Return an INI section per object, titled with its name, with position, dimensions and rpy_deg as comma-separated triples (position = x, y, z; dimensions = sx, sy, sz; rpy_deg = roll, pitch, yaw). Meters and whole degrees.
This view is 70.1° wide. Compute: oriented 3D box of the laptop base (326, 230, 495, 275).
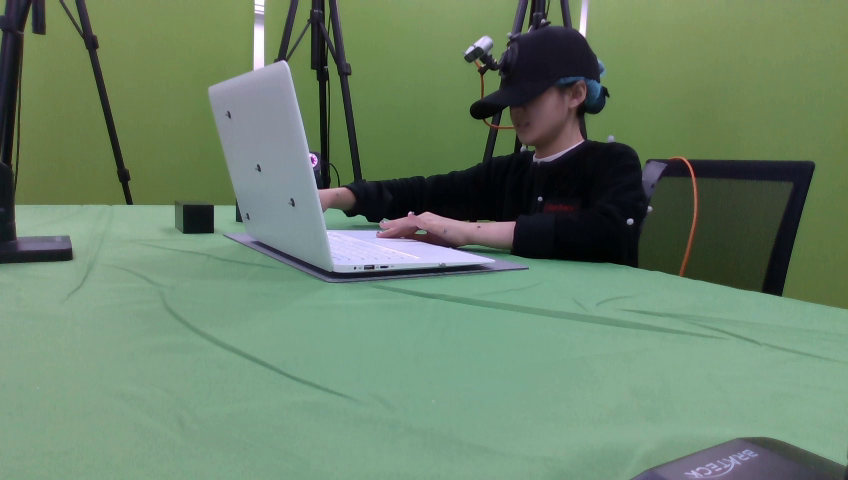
[laptop base]
position = -0.093, 0.015, 0.884
dimensions = 0.237, 0.023, 0.352
rpy_deg = 3, 6, -32

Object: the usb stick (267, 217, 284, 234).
[usb stick]
position = -0.263, -0.026, 1.079
dimensions = 0.021, 0.027, 0.059
rpy_deg = -4, 12, -27

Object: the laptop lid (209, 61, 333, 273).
[laptop lid]
position = -0.213, -0.095, 0.790
dimensions = 0.013, 0.241, 0.355
rpy_deg = -18, 18, -29
